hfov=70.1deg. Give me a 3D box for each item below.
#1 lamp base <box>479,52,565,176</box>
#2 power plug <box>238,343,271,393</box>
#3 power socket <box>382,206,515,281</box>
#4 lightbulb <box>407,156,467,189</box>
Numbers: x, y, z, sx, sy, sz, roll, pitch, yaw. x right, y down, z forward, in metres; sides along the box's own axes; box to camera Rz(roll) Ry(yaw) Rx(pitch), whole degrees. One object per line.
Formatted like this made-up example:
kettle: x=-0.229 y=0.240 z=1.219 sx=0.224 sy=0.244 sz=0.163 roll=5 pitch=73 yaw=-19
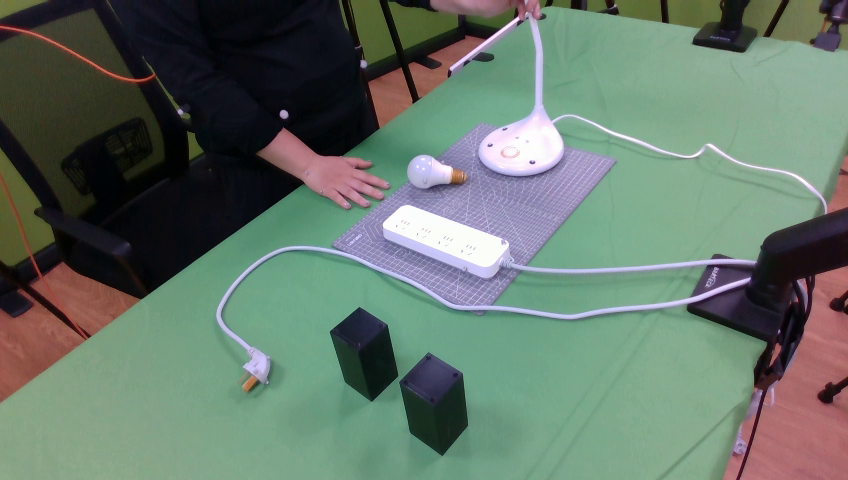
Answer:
lamp base: x=0.181 y=-0.235 z=1.093 sx=0.159 sy=0.181 sz=0.179 roll=18 pitch=44 yaw=27
power plug: x=-0.229 y=0.172 z=0.801 sx=0.072 sy=0.035 sz=0.053 roll=8 pitch=51 yaw=51
power socket: x=0.032 y=0.002 z=0.950 sx=0.225 sy=0.033 sz=0.072 roll=21 pitch=49 yaw=29
lightbulb: x=0.023 y=-0.118 z=1.080 sx=0.108 sy=0.059 sz=0.059 roll=7 pitch=40 yaw=-6
